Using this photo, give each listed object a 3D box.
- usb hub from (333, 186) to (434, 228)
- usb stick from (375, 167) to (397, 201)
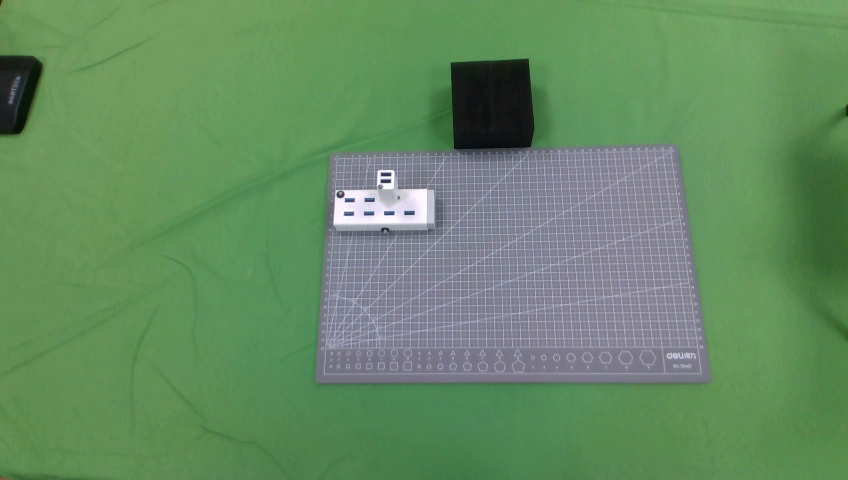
[{"bbox_3d":[-0.050,-0.042,0.756,0.125,0.025,0.049,-1,71,2],"label":"usb hub"},{"bbox_3d":[-0.044,-0.064,0.733,0.021,0.059,0.027,1,70,3],"label":"usb stick"}]
